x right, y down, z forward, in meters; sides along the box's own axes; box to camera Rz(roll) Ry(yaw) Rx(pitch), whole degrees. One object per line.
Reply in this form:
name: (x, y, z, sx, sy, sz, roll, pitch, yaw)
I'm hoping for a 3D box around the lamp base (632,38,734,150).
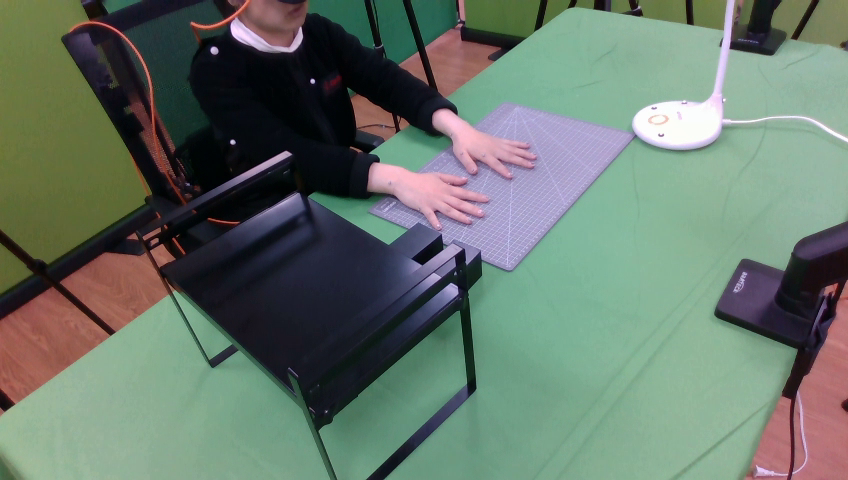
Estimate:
lamp base: (0.486, -0.280, 1.108, 0.179, 0.181, 0.159, -5, 41, -1)
